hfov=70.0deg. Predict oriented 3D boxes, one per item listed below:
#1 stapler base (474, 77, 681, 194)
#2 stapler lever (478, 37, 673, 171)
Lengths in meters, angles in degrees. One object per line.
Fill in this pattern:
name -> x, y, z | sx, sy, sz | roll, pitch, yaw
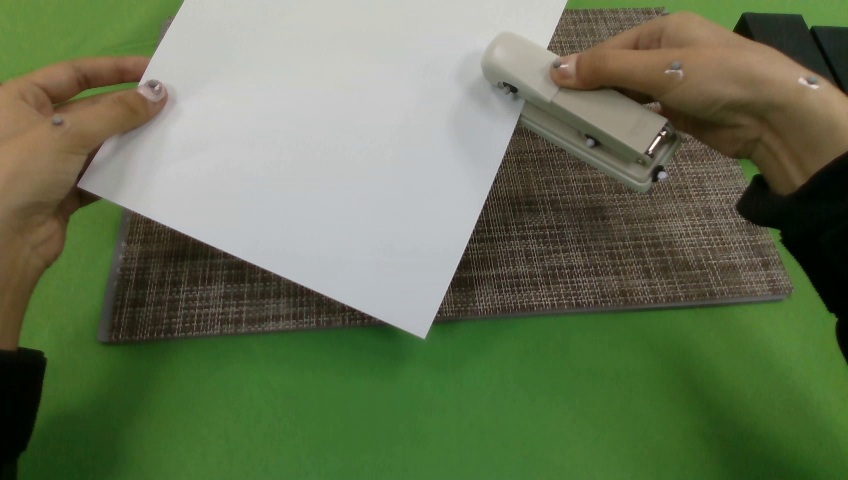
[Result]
stapler base -> 0.087, -0.077, 0.364 | 0.129, 0.024, 0.041 | 34, 93, 19
stapler lever -> 0.082, -0.081, 0.347 | 0.117, 0.040, 0.027 | 35, 93, 27
